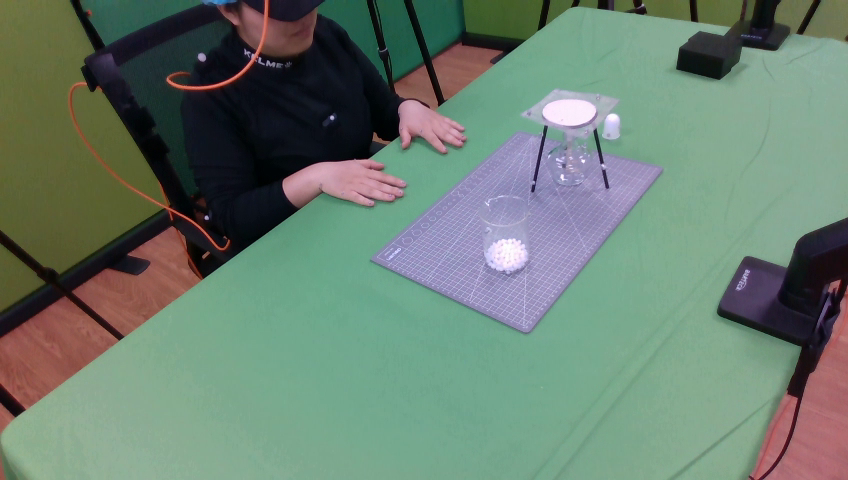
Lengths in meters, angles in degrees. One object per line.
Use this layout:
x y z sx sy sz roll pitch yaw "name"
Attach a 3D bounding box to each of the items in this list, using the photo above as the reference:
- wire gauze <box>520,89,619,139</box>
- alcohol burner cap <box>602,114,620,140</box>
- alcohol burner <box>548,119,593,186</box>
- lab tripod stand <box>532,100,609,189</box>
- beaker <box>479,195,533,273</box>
0.239 -0.213 0.994 0.124 0.011 0.122 24 49 32 "wire gauze"
0.359 -0.217 1.157 0.034 0.048 0.033 -7 40 6 "alcohol burner cap"
0.252 -0.154 1.042 0.078 0.120 0.077 -7 40 7 "alcohol burner"
0.251 -0.161 1.034 0.148 0.132 0.147 -4 39 4 "lab tripod stand"
0.122 -0.007 0.904 0.074 0.101 0.083 -30 43 -23 "beaker"
